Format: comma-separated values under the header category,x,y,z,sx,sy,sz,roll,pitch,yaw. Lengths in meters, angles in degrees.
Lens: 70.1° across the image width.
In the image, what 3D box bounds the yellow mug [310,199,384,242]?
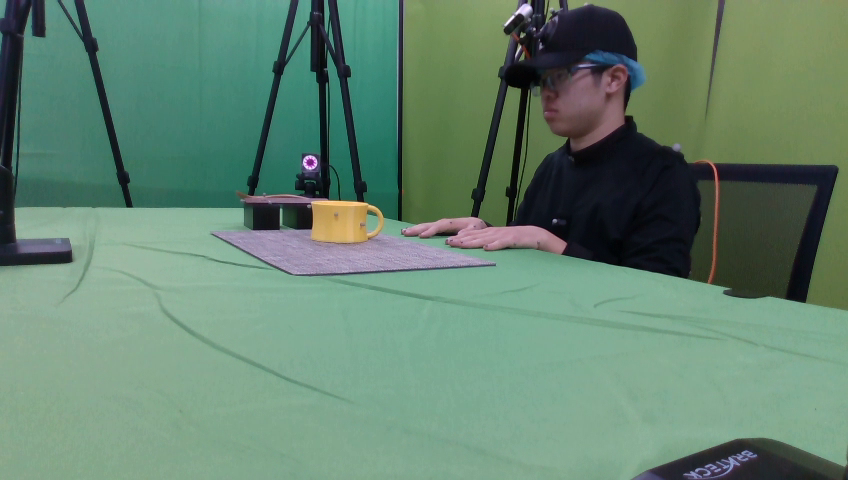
category,x,y,z,sx,sy,sz,roll,pitch,yaw
yellow mug,-0.132,-0.035,1.054,0.131,0.064,0.099,0,8,-23

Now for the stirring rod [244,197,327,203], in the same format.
category,x,y,z,sx,sy,sz,roll,pitch,yaw
stirring rod,-0.271,-0.079,1.201,0.177,0.006,0.014,-2,46,-36

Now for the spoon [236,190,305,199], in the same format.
category,x,y,z,sx,sy,sz,roll,pitch,yaw
spoon,-0.290,-0.088,1.248,0.195,0.021,0.041,0,6,-31
